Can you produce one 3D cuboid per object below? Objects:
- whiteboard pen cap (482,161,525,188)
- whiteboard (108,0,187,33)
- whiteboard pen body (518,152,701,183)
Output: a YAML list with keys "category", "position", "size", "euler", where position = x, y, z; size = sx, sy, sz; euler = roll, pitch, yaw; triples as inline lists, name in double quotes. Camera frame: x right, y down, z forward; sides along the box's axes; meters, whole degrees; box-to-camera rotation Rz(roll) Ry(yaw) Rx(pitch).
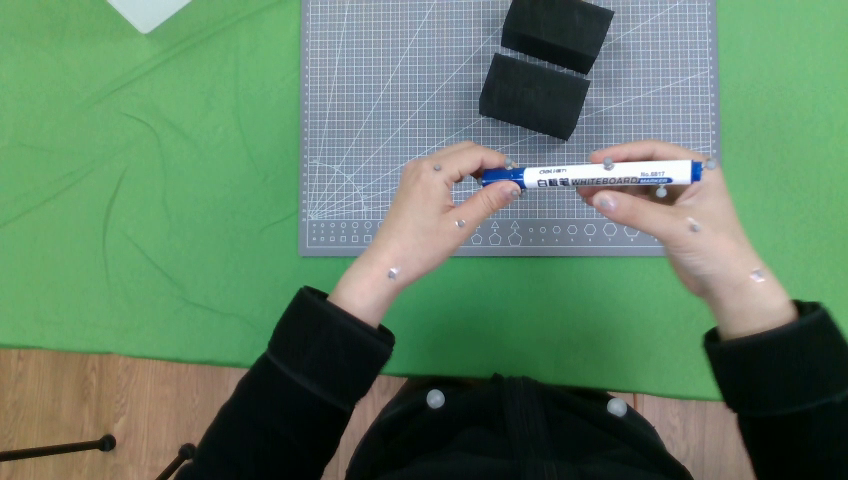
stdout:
- category: "whiteboard pen cap"
  position: [0.060, -0.048, 0.439]
  size: [0.033, 0.018, 0.018]
  euler: [-6, 85, 21]
- category: "whiteboard"
  position: [-0.310, -0.401, 0.577]
  size: [0.217, 0.308, 0.142]
  euler: [-36, 65, 1]
- category: "whiteboard pen body"
  position: [0.112, -0.048, 0.413]
  size: [0.140, 0.017, 0.017]
  euler: [0, 86, 26]
